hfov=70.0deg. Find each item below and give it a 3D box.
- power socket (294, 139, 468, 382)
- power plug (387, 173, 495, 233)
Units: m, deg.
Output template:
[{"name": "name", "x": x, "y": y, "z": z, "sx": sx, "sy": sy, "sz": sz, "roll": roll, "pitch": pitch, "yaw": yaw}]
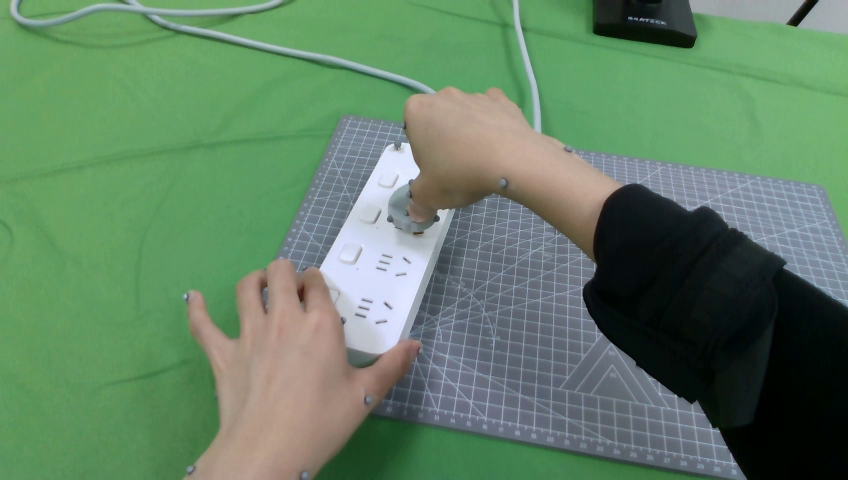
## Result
[{"name": "power socket", "x": -0.024, "y": 0.001, "z": 0.450, "sx": 0.072, "sy": 0.033, "sz": 0.225, "roll": 15, "pitch": 48, "yaw": 8}, {"name": "power plug", "x": 0.008, "y": -0.018, "z": 0.427, "sx": 0.072, "sy": 0.053, "sz": 0.035, "roll": 23, "pitch": 57, "yaw": 14}]
